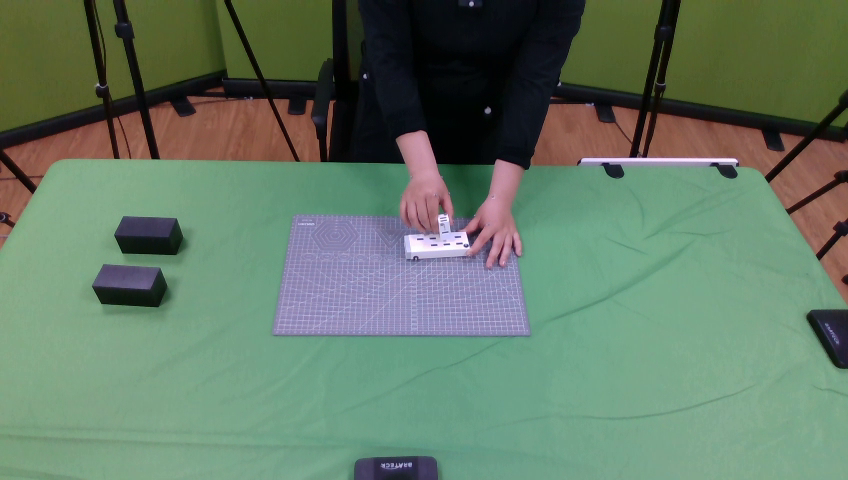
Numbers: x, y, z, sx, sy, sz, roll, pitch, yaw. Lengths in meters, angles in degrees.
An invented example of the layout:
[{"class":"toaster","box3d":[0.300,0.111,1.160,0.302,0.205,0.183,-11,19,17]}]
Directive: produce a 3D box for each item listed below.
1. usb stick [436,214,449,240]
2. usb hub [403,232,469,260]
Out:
[{"class":"usb stick","box3d":[0.036,-0.019,1.162,0.021,0.059,0.027,-8,44,-6]},{"class":"usb hub","box3d":[0.023,0.012,1.182,0.125,0.025,0.049,-3,47,-7]}]
